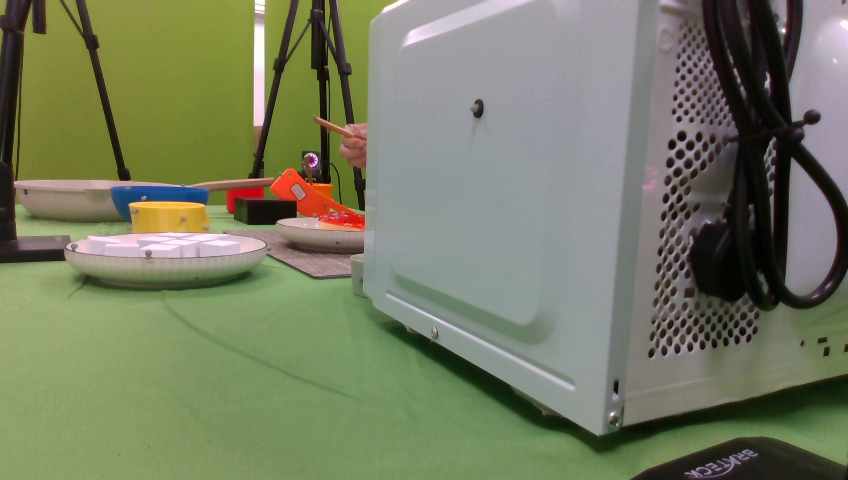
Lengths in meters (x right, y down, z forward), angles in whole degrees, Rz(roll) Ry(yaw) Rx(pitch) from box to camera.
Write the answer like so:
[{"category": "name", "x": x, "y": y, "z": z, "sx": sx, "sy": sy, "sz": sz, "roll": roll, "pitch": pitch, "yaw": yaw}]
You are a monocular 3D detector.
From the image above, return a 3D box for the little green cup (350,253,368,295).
[{"category": "little green cup", "x": -0.048, "y": 0.035, "z": 0.632, "sx": 0.061, "sy": 0.038, "sz": 0.061, "roll": 3, "pitch": 6, "yaw": 0}]

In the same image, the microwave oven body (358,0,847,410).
[{"category": "microwave oven body", "x": 0.210, "y": -0.051, "z": 0.471, "sx": 0.444, "sy": 0.260, "sz": 0.324, "roll": -1, "pitch": 7, "yaw": -28}]

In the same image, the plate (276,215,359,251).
[{"category": "plate", "x": -0.126, "y": -0.012, "z": 0.950, "sx": 0.209, "sy": 0.038, "sz": 0.209, "roll": 2, "pitch": 7, "yaw": 0}]

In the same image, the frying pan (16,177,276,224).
[{"category": "frying pan", "x": -0.554, "y": -0.097, "z": 1.266, "sx": 0.490, "sy": 0.102, "sz": 0.305, "roll": -10, "pitch": 13, "yaw": -24}]

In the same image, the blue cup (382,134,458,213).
[{"category": "blue cup", "x": -0.001, "y": -0.097, "z": 0.957, "sx": 0.100, "sy": 0.092, "sz": 0.093, "roll": 47, "pitch": 16, "yaw": 5}]

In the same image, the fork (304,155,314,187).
[{"category": "fork", "x": -0.268, "y": -0.134, "z": 1.446, "sx": 0.028, "sy": 0.018, "sz": 0.207, "roll": 2, "pitch": -36, "yaw": -1}]

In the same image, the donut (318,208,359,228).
[{"category": "donut", "x": -0.118, "y": -0.024, "z": 0.954, "sx": 0.099, "sy": 0.048, "sz": 0.099, "roll": 5, "pitch": 7, "yaw": 0}]

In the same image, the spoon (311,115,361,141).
[{"category": "spoon", "x": -0.092, "y": -0.152, "z": 0.961, "sx": 0.194, "sy": 0.021, "sz": 0.041, "roll": 31, "pitch": 0, "yaw": 0}]

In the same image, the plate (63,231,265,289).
[{"category": "plate", "x": -0.288, "y": 0.021, "z": 0.687, "sx": 0.208, "sy": 0.039, "sz": 0.207, "roll": 2, "pitch": 8, "yaw": 0}]

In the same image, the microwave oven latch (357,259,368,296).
[{"category": "microwave oven latch", "x": -0.019, "y": 0.031, "z": 0.528, "sx": 0.079, "sy": 0.029, "sz": 0.030, "roll": -1, "pitch": 7, "yaw": -25}]

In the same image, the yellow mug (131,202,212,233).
[{"category": "yellow mug", "x": -0.356, "y": -0.020, "z": 0.878, "sx": 0.099, "sy": 0.064, "sz": 0.131, "roll": 5, "pitch": 7, "yaw": 21}]

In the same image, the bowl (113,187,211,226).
[{"category": "bowl", "x": -0.436, "y": -0.046, "z": 1.013, "sx": 0.151, "sy": 0.077, "sz": 0.151, "roll": 2, "pitch": 7, "yaw": 0}]

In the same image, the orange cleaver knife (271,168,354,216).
[{"category": "orange cleaver knife", "x": -0.237, "y": -0.084, "z": 1.332, "sx": 0.212, "sy": 0.077, "sz": 0.012, "roll": 31, "pitch": -9, "yaw": -31}]

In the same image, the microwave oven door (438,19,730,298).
[{"category": "microwave oven door", "x": 0.181, "y": -0.076, "z": 0.618, "sx": 0.358, "sy": 0.243, "sz": 0.039, "roll": -2, "pitch": 8, "yaw": -28}]
